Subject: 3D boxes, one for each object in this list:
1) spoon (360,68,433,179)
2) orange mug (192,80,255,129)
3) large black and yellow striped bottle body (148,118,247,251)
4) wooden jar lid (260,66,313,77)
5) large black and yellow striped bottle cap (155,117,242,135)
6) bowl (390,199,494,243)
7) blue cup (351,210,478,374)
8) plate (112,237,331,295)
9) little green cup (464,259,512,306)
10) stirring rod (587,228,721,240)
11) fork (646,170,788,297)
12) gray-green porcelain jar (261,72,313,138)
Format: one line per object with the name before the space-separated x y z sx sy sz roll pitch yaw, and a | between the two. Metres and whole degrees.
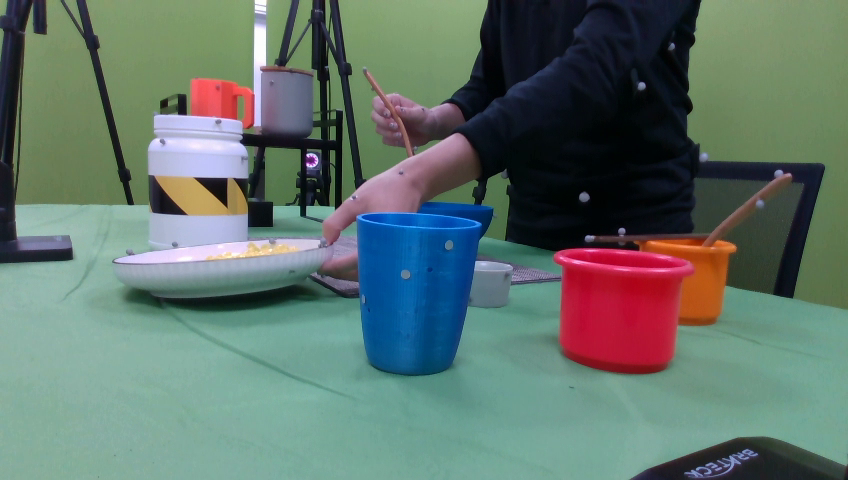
spoon | -0.040 -0.173 0.904 0.021 0.194 0.041 -26 7 15
orange mug | -0.389 -0.257 1.172 0.126 0.100 0.083 -1 6 9
large black and yellow striped bottle body | -0.318 -0.076 0.855 0.131 0.184 0.130 2 7 0
wooden jar lid | -0.283 -0.339 1.244 0.108 0.020 0.108 6 8 -1
large black and yellow striped bottle cap | -0.313 -0.159 0.845 0.115 0.019 0.115 3 9 0
bowl | 0.024 -0.016 0.874 0.151 0.077 0.151 3 7 0
blue cup | -0.009 0.034 0.414 0.093 0.100 0.092 4 8 0
plate | -0.197 0.025 0.611 0.209 0.038 0.209 -4 4 1
little green cup | 0.057 0.043 0.612 0.061 0.038 0.061 3 7 0
stirring rod | 0.227 -0.007 0.586 0.177 0.006 0.014 -2 11 -29
fork | 0.256 0.004 0.543 0.028 0.018 0.207 3 -36 -10
gray-green porcelain jar | -0.284 -0.277 1.253 0.106 0.126 0.106 2 8 0
